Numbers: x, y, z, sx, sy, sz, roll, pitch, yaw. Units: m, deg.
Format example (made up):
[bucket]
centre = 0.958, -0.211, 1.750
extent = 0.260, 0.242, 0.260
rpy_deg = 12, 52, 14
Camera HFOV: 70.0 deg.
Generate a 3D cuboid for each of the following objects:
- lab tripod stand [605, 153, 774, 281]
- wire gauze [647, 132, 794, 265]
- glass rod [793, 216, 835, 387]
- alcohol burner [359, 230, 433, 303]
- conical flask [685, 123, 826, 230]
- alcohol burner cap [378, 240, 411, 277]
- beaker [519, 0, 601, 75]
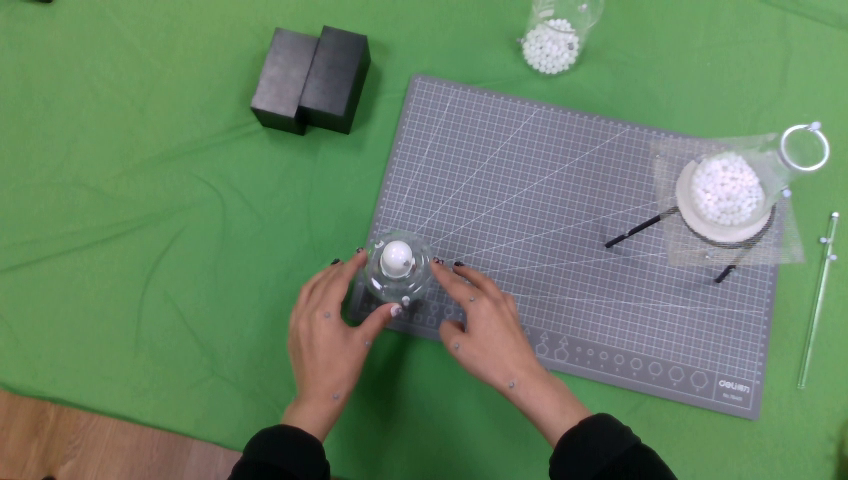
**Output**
[lab tripod stand]
centre = 0.272, -0.021, 0.615
extent = 0.148, 0.132, 0.148
rpy_deg = 0, 79, 1
[wire gauze]
centre = 0.271, -0.037, 0.551
extent = 0.125, 0.011, 0.121
rpy_deg = -2, 81, -2
[glass rod]
centre = 0.429, 0.064, 0.665
extent = 0.008, 0.008, 0.199
rpy_deg = 19, 78, 4
[alcohol burner]
centre = -0.029, 0.024, 0.614
extent = 0.078, 0.119, 0.077
rpy_deg = 0, 79, -1
[conical flask]
centre = 0.272, -0.055, 0.495
extent = 0.075, 0.122, 0.075
rpy_deg = 0, 80, 0
[alcohol burner cap]
centre = -0.028, 0.015, 0.579
extent = 0.034, 0.048, 0.033
rpy_deg = 1, 77, -6
[beaker]
centre = 0.151, -0.239, 0.681
extent = 0.084, 0.100, 0.073
rpy_deg = -26, 79, -6
